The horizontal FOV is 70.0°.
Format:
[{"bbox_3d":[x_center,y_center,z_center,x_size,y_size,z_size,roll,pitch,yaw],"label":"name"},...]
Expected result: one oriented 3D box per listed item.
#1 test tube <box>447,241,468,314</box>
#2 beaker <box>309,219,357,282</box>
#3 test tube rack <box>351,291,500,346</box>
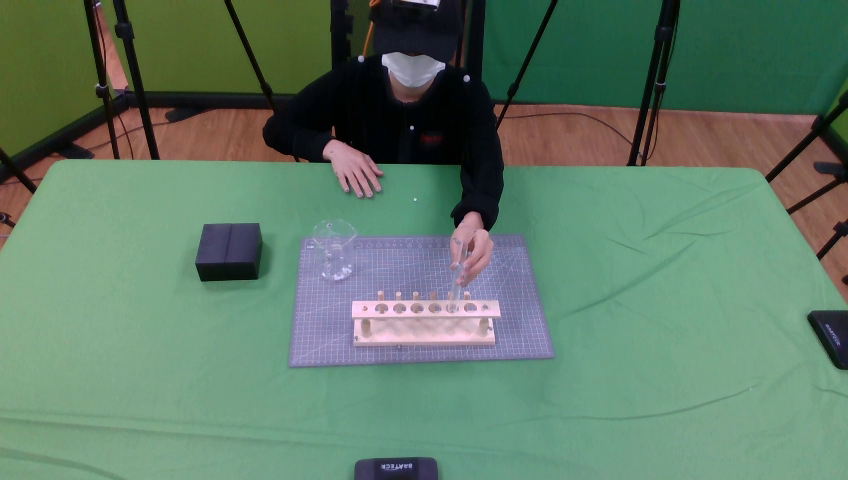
[{"bbox_3d":[0.051,0.061,0.937,0.017,0.151,0.017,4,41,-3],"label":"test tube"},{"bbox_3d":[-0.164,0.021,1.107,0.084,0.101,0.073,-5,47,-11],"label":"beaker"},{"bbox_3d":[0.001,0.129,1.026,0.242,0.085,0.066,0,46,-4],"label":"test tube rack"}]
